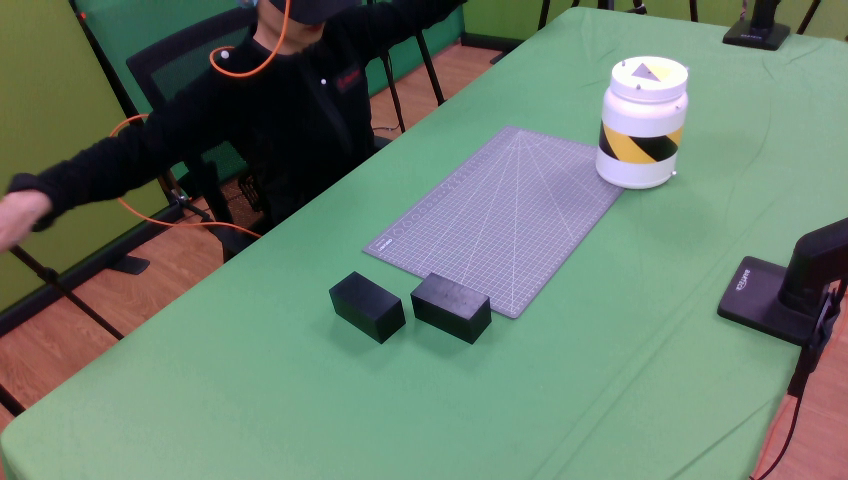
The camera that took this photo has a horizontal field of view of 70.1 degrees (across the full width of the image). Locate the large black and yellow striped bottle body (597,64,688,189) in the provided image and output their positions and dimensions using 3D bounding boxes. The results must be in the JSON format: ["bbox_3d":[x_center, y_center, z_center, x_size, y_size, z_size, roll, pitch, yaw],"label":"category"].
[{"bbox_3d":[0.363,-0.193,1.011,0.131,0.185,0.130,-4,40,4],"label":"large black and yellow striped bottle body"}]

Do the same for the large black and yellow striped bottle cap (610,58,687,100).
[{"bbox_3d":[0.355,-0.257,0.958,0.115,0.019,0.114,-2,41,3],"label":"large black and yellow striped bottle cap"}]
